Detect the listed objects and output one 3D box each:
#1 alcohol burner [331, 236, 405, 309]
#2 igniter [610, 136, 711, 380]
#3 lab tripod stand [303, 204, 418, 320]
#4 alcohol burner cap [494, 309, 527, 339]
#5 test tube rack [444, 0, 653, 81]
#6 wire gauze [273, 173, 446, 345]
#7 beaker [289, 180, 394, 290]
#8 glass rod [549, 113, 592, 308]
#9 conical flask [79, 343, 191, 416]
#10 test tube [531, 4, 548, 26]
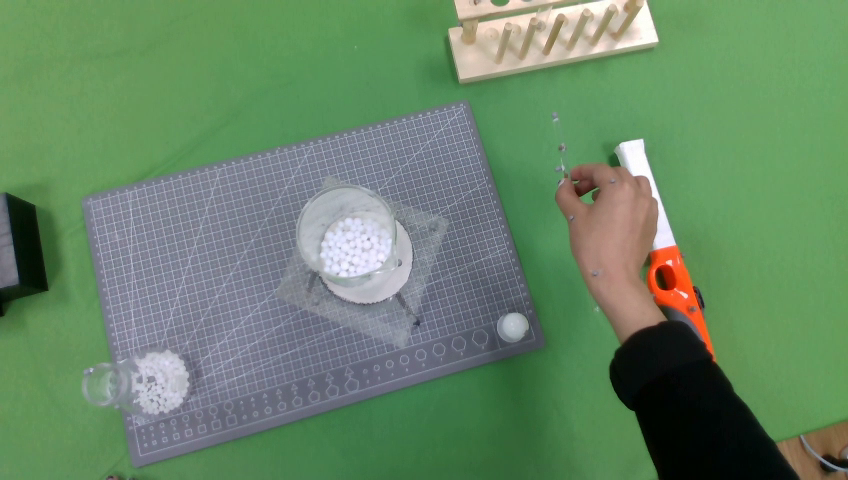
[{"bbox_3d":[-0.058,0.031,0.613,0.078,0.119,0.077,0,80,0],"label":"alcohol burner"},{"bbox_3d":[0.262,0.016,0.673,0.057,0.025,0.275,-12,79,-15],"label":"igniter"},{"bbox_3d":[-0.060,0.026,0.604,0.148,0.132,0.148,0,80,-1],"label":"lab tripod stand"},{"bbox_3d":[0.093,0.087,0.644,0.034,0.048,0.033,1,78,-3],"label":"alcohol burner cap"},{"bbox_3d":[0.150,-0.253,0.692,0.242,0.085,0.066,-12,79,-4],"label":"test tube rack"},{"bbox_3d":[-0.056,0.014,0.539,0.125,0.011,0.121,21,82,1],"label":"wire gauze"},{"bbox_3d":[-0.058,0.003,0.492,0.084,0.100,0.074,34,80,5],"label":"beaker"},{"bbox_3d":[0.147,-0.028,0.604,0.008,0.008,0.200,-13,97,-5],"label":"glass rod"},{"bbox_3d":[-0.280,0.134,0.581,0.075,0.122,0.075,0,78,-2],"label":"conical flask"},{"bbox_3d":[0.131,-0.273,0.645,0.017,0.151,0.017,0,79,1],"label":"test tube"}]
